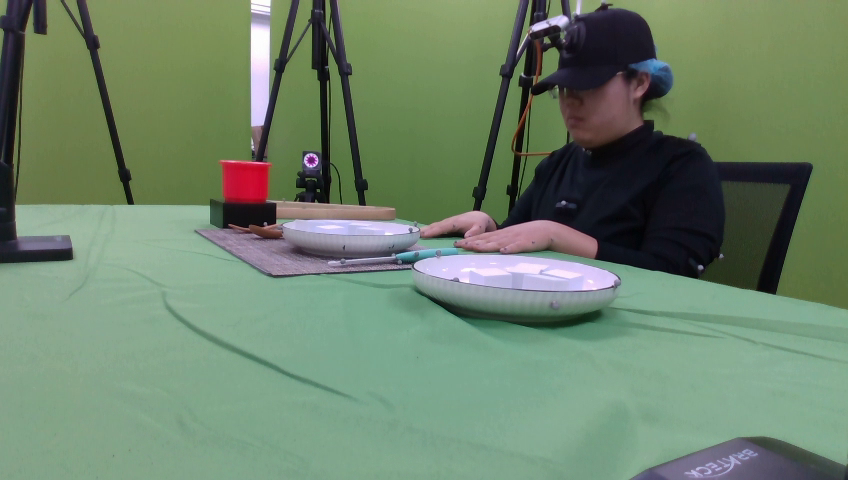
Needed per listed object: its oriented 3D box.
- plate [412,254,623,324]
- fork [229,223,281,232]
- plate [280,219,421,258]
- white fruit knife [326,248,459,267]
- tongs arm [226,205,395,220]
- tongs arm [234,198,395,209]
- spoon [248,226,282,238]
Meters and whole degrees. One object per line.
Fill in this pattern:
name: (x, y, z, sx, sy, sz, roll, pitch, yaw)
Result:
plate: (0.090, 0.047, 0.609, 0.209, 0.038, 0.209, 2, 7, 0)
fork: (-0.244, -0.024, 1.090, 0.208, 0.018, 0.028, -3, 3, -28)
plate: (-0.109, -0.002, 0.902, 0.208, 0.039, 0.207, 3, 7, 0)
white fruit knife: (-0.035, 0.025, 0.807, 0.208, 0.016, 0.027, -4, -19, -34)
tongs arm: (-0.247, -0.062, 1.382, 0.389, 0.028, 0.028, 0, 5, -21)
tongs arm: (-0.263, -0.076, 1.460, 0.386, 0.026, 0.050, 3, 8, -8)
spoon: (-0.198, -0.015, 1.024, 0.195, 0.021, 0.041, -2, -9, -30)
